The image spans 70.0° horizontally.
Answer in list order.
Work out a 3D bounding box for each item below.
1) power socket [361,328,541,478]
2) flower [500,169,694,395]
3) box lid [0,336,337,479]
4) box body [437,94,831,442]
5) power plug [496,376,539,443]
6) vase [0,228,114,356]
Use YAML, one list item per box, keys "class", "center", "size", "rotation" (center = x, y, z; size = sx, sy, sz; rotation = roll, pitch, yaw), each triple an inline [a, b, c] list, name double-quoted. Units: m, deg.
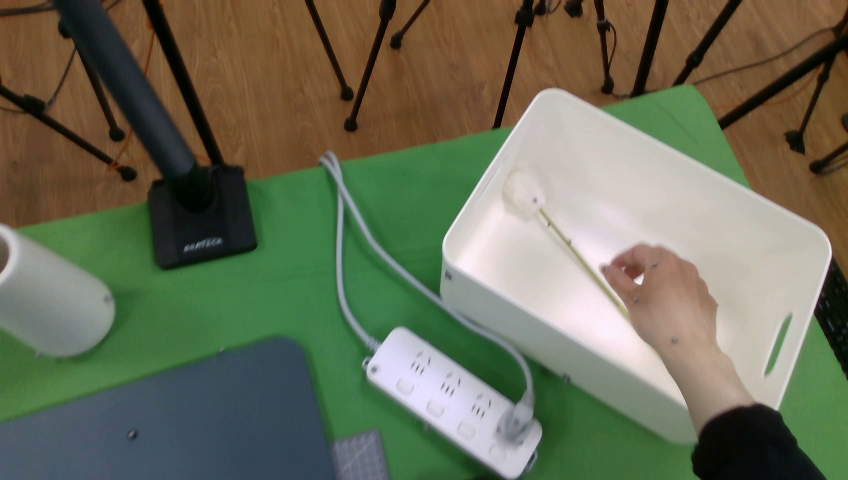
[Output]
- class: "power socket"
  center: [0.032, 0.186, 0.699]
  size: [0.226, 0.033, 0.072]
  rotation: [33, 69, 10]
- class: "flower"
  center: [0.222, 0.055, 0.770]
  size: [0.044, 0.038, 0.360]
  rotation: [-37, 79, -2]
- class: "box lid"
  center: [-0.282, 0.272, 0.650]
  size: [0.372, 0.015, 0.261]
  rotation: [-17, 70, -11]
- class: "box body"
  center: [0.220, 0.039, 0.702]
  size: [0.363, 0.161, 0.253]
  rotation: [30, 69, 8]
- class: "power plug"
  center: [0.111, 0.194, 0.676]
  size: [0.035, 0.053, 0.072]
  rotation: [43, 67, 16]
- class: "vase"
  center: [-0.404, 0.055, 0.628]
  size: [0.098, 0.201, 0.097]
  rotation: [2, 66, -4]
